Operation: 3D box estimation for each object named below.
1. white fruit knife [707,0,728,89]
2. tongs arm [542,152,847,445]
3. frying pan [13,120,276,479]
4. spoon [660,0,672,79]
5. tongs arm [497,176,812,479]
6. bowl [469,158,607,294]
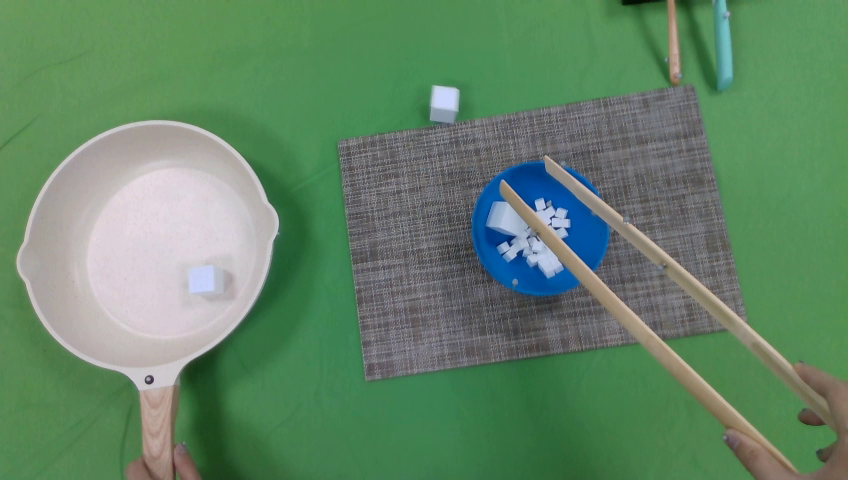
[{"bbox_3d":[0.349,-0.289,0.731,0.016,0.027,0.207,-8,95,-3],"label":"white fruit knife"},{"bbox_3d":[0.209,0.044,0.515,0.051,0.027,0.380,-31,54,-14],"label":"tongs arm"},{"bbox_3d":[-0.305,0.104,0.688,0.307,0.103,0.484,-9,72,2],"label":"frying pan"},{"bbox_3d":[0.293,-0.294,0.729,0.041,0.022,0.194,3,102,26],"label":"spoon"},{"bbox_3d":[0.179,0.061,0.508,0.028,0.028,0.383,-29,53,-16],"label":"tongs arm"},{"bbox_3d":[0.125,-0.010,0.694,0.151,0.077,0.151,0,80,3],"label":"bowl"}]
